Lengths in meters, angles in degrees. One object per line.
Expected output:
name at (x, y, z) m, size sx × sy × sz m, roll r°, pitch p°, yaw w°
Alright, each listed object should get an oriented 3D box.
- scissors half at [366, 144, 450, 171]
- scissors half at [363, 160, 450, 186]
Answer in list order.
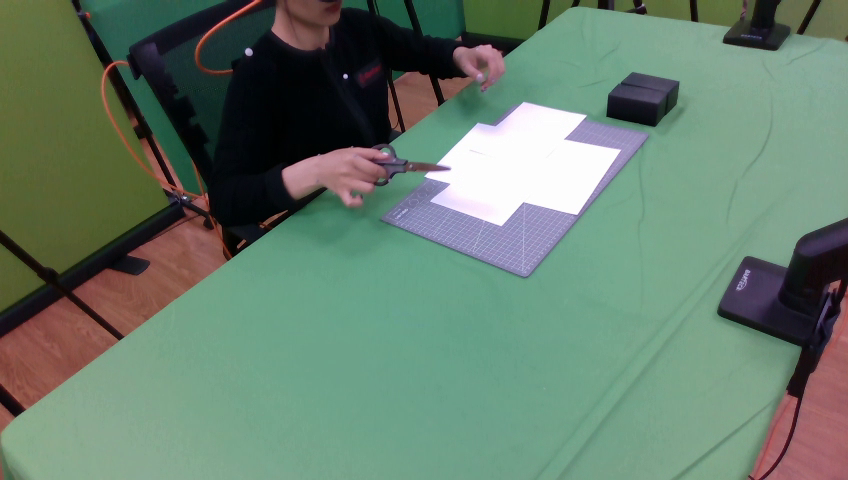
scissors half at (-0.028, -0.133, 0.999) m, size 0.174 × 0.013 × 0.040 m, roll 14°, pitch 90°, yaw 35°
scissors half at (-0.032, -0.114, 0.996) m, size 0.174 × 0.013 × 0.040 m, roll -4°, pitch 74°, yaw 33°
